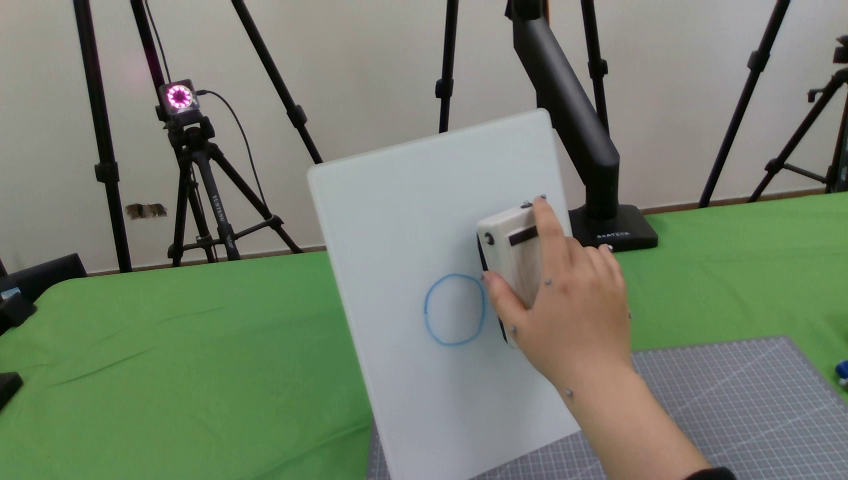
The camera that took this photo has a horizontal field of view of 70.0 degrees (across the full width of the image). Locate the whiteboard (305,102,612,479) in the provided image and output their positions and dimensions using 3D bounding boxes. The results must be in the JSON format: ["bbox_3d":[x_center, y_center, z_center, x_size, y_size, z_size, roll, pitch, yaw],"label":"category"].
[{"bbox_3d":[0.024,0.049,0.583,0.217,0.306,0.143,-17,11,-15],"label":"whiteboard"}]

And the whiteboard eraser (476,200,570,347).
[{"bbox_3d":[0.080,0.027,0.499,0.056,0.113,0.041,-21,12,-22],"label":"whiteboard eraser"}]

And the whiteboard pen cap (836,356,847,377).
[{"bbox_3d":[0.415,0.127,0.582,0.018,0.018,0.033,-8,28,1],"label":"whiteboard pen cap"}]
